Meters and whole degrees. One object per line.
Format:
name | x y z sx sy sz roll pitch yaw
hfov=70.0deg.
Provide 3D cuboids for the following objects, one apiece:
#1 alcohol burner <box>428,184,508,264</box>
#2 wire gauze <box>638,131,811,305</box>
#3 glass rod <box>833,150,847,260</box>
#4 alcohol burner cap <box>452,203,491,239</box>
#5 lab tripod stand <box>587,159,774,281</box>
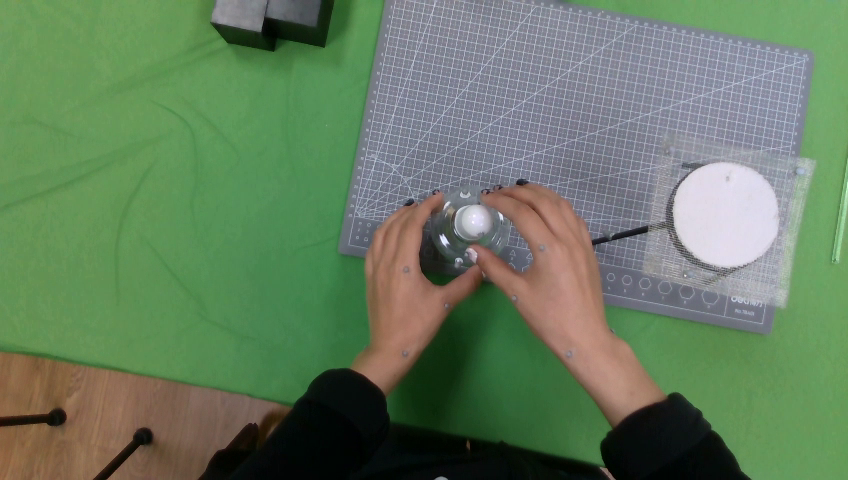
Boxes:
alcohol burner | 0.042 -0.016 0.565 0.078 0.119 0.078 0 89 0
wire gauze | 0.242 -0.019 0.490 0.125 0.011 0.121 12 88 1
glass rod | 0.441 -0.077 0.627 0.008 0.008 0.199 10 87 0
alcohol burner cap | 0.043 -0.018 0.529 0.034 0.048 0.034 0 89 -6
lab tripod stand | 0.238 -0.015 0.558 0.148 0.131 0.148 0 89 1
